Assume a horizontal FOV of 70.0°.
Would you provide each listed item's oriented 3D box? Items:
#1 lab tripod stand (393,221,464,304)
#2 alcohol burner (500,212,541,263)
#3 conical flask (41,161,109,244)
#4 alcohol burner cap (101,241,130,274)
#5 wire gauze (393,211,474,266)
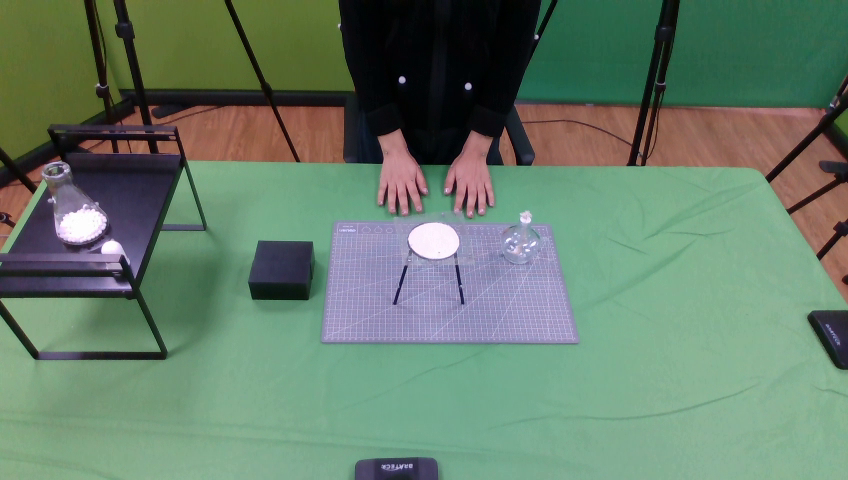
[{"bbox_3d":[0.010,0.045,1.075,0.148,0.132,0.147,2,48,-2],"label":"lab tripod stand"},{"bbox_3d":[0.187,-0.011,1.156,0.078,0.120,0.077,2,48,-2],"label":"alcohol burner"},{"bbox_3d":[-0.522,-0.058,0.894,0.075,0.122,0.075,2,46,-2],"label":"conical flask"},{"bbox_3d":[-0.449,0.022,0.878,0.034,0.048,0.033,2,45,-2],"label":"alcohol burner cap"},{"bbox_3d":[0.015,-0.003,1.028,0.125,0.011,0.120,-4,47,-7],"label":"wire gauze"}]
